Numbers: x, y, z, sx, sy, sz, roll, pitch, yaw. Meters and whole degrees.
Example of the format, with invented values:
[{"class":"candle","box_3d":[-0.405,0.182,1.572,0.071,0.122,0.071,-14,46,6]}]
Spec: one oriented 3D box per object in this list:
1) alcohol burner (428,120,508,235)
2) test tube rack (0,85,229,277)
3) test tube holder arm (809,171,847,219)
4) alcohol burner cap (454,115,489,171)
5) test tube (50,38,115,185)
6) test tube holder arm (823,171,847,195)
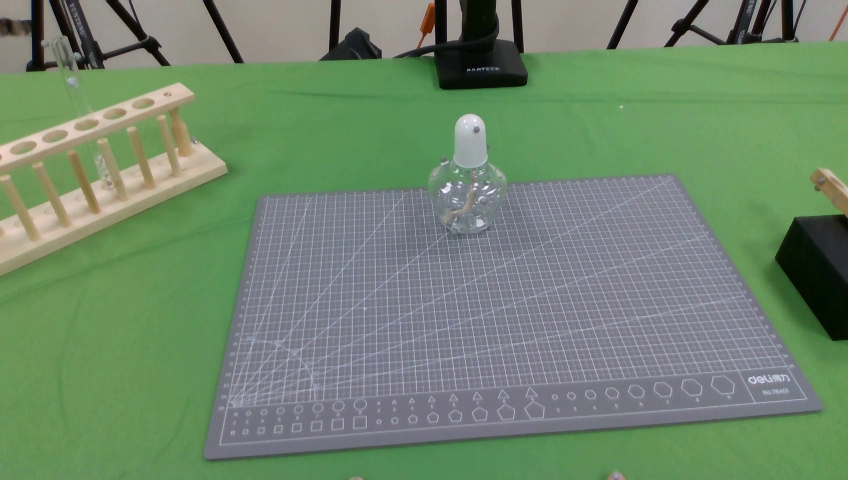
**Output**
[{"class":"alcohol burner","box_3d":[0.042,-0.063,0.572,0.078,0.120,0.077,1,43,0]},{"class":"test tube rack","box_3d":[-0.327,-0.065,0.602,0.242,0.086,0.066,-32,50,-30]},{"class":"test tube holder arm","box_3d":[0.373,-0.031,0.536,0.010,0.015,0.087,-1,42,-11]},{"class":"alcohol burner cap","box_3d":[0.043,-0.091,0.548,0.034,0.048,0.033,-1,46,2]},{"class":"test tube","box_3d":[-0.327,-0.120,0.588,0.017,0.151,0.017,-1,36,1]},{"class":"test tube holder arm","box_3d":[0.385,-0.001,0.504,0.013,0.015,0.176,-1,42,-12]}]
